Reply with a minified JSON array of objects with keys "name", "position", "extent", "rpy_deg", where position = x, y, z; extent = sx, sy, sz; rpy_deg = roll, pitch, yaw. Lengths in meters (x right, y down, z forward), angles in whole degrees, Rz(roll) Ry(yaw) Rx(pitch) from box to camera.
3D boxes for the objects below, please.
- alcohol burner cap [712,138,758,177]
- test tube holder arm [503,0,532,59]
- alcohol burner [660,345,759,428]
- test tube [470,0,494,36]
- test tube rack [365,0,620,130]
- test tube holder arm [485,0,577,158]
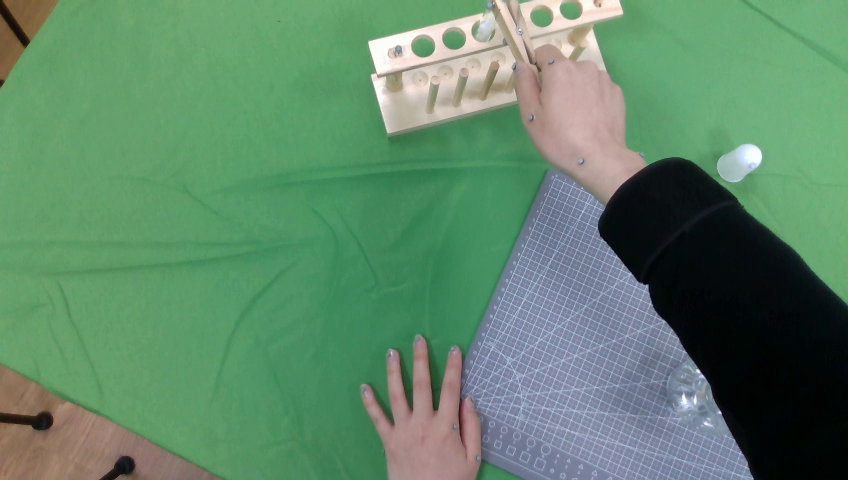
[{"name":"alcohol burner cap","position":[0.327,-0.088,0.630],"extent":[0.034,0.048,0.033],"rpy_deg":[1,78,-2]},{"name":"test tube holder arm","position":[0.074,-0.192,0.514],"extent":[0.010,0.015,0.087],"rpy_deg":[-11,79,-15]},{"name":"alcohol burner","position":[0.269,0.136,0.562],"extent":[0.078,0.119,0.077],"rpy_deg":[1,80,-3]},{"name":"test tube","position":[0.062,-0.211,0.523],"extent":[0.017,0.150,0.017],"rpy_deg":[2,78,-10]},{"name":"test tube rack","position":[0.068,-0.183,0.603],"extent":[0.242,0.085,0.066],"rpy_deg":[-15,83,-5]},{"name":"test tube holder arm","position":[0.084,-0.149,0.506],"extent":[0.013,0.015,0.178],"rpy_deg":[-21,82,-16]}]
